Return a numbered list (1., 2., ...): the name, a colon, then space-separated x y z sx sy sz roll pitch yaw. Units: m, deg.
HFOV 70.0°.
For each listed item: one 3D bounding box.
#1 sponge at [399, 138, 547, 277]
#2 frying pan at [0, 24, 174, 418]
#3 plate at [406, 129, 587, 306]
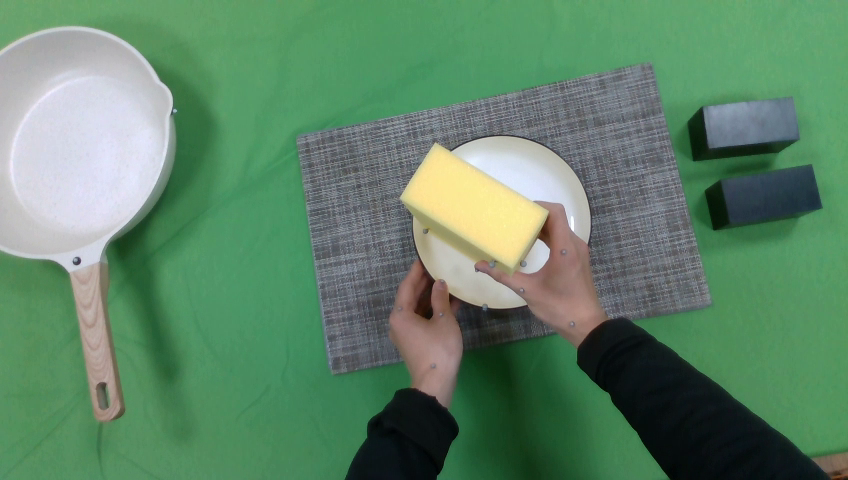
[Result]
1. sponge: 0.052 -0.023 0.621 0.118 0.207 0.061 31 87 9
2. frying pan: -0.417 -0.026 0.730 0.307 0.103 0.484 -19 73 4
3. plate: 0.084 -0.025 0.713 0.207 0.039 0.207 -1 82 5
